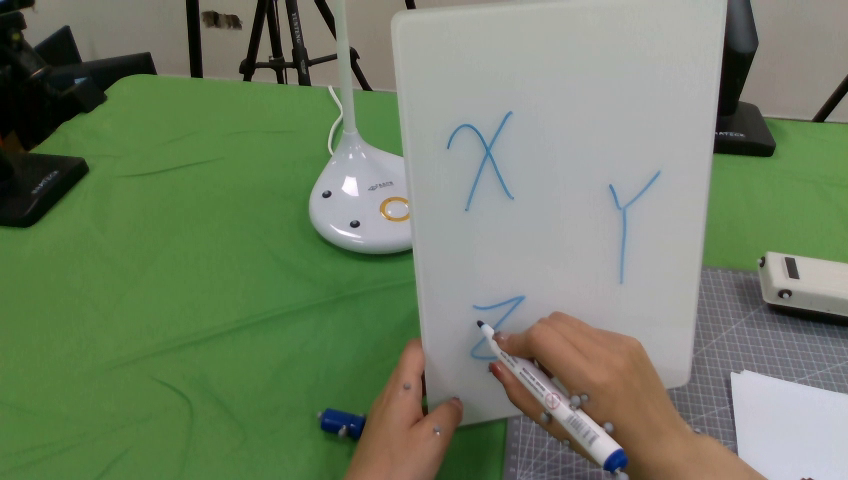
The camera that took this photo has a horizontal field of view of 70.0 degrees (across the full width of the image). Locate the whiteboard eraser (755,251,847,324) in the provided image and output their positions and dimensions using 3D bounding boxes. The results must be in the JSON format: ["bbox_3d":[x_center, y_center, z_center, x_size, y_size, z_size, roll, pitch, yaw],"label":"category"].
[{"bbox_3d":[0.364,0.046,0.547,0.112,0.042,0.055,10,43,13],"label":"whiteboard eraser"}]

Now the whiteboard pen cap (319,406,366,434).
[{"bbox_3d":[-0.062,0.139,0.467,0.033,0.018,0.018,7,42,11],"label":"whiteboard pen cap"}]

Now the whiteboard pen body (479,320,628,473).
[{"bbox_3d":[0.075,0.092,0.386,0.017,0.017,0.139,-21,39,-22],"label":"whiteboard pen body"}]

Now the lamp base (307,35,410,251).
[{"bbox_3d":[-0.057,-0.107,0.626,0.161,0.182,0.177,-28,45,-27],"label":"lamp base"}]

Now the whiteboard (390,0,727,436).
[{"bbox_3d":[0.088,-0.030,0.484,0.217,0.307,0.142,-8,22,-7],"label":"whiteboard"}]
